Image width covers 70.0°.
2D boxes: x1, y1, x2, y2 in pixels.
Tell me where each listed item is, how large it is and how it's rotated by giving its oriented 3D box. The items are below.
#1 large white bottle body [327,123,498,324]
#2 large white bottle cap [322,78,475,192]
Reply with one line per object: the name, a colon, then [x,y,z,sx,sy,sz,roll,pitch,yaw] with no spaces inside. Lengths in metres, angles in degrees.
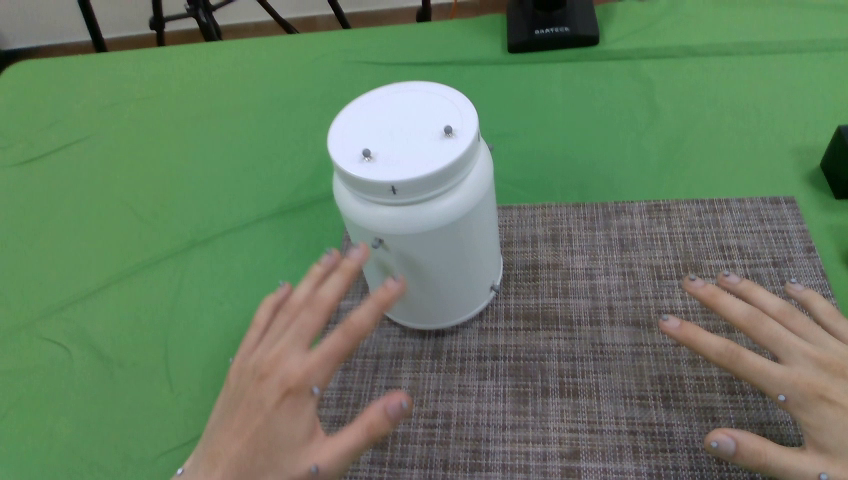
large white bottle body: [-0.006,-0.028,0.517,0.130,0.186,0.129,-5,50,7]
large white bottle cap: [-0.019,-0.081,0.453,0.115,0.018,0.113,-5,49,6]
